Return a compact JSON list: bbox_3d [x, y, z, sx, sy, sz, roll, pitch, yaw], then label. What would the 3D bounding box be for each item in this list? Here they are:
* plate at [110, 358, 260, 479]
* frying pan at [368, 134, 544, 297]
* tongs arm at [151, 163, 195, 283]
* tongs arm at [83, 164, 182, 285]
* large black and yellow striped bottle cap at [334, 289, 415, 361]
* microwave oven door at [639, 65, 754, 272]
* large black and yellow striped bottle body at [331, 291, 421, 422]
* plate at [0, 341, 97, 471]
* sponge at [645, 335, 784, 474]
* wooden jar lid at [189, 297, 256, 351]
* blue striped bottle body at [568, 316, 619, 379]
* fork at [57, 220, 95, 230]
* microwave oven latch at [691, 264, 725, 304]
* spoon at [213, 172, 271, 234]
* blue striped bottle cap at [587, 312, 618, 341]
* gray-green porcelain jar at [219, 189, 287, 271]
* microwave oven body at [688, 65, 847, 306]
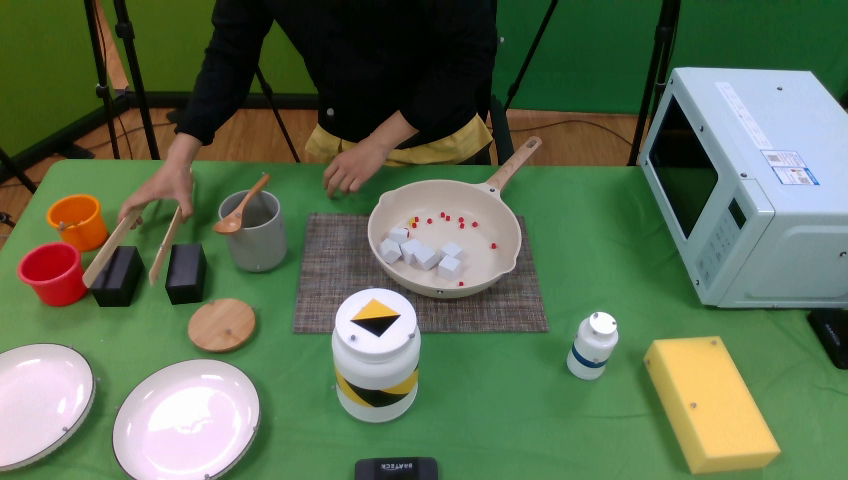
[{"bbox_3d":[-0.349,0.273,0.899,0.208,0.039,0.206,2,46,-2],"label":"plate"},{"bbox_3d":[0.104,-0.069,1.205,0.305,0.103,0.487,32,61,23],"label":"frying pan"},{"bbox_3d":[-0.482,-0.046,1.146,0.051,0.026,0.382,-3,35,-3],"label":"tongs arm"},{"bbox_3d":[-0.541,-0.045,1.142,0.028,0.028,0.385,-2,34,4],"label":"tongs arm"},{"bbox_3d":[-0.069,0.117,0.850,0.115,0.019,0.114,2,45,-2],"label":"large black and yellow striped bottle cap"},{"bbox_3d":[0.522,-0.147,1.193,0.039,0.245,0.353,1,47,-3],"label":"microwave oven door"},{"bbox_3d":[-0.071,0.175,0.911,0.131,0.185,0.130,2,47,-2],"label":"large black and yellow striped bottle body"},{"bbox_3d":[-0.599,0.247,0.904,0.209,0.038,0.208,2,47,-2],"label":"plate"},{"bbox_3d":[0.449,0.253,0.956,0.118,0.061,0.205,-4,46,-7],"label":"sponge"},{"bbox_3d":[-0.342,0.145,1.033,0.108,0.021,0.107,2,45,-2],"label":"wooden jar lid"},{"bbox_3d":[0.276,0.169,0.984,0.063,0.121,0.062,2,46,-2],"label":"blue striped bottle body"},{"bbox_3d":[-0.624,-0.027,1.086,0.028,0.207,0.018,-2,91,-17],"label":"fork"},{"bbox_3d":[0.521,0.081,1.116,0.030,0.029,0.078,0,46,-3],"label":"microwave oven latch"},{"bbox_3d":[-0.312,-0.069,1.069,0.041,0.022,0.193,9,43,11],"label":"spoon"},{"bbox_3d":[0.279,0.134,0.947,0.044,0.021,0.044,2,45,-2],"label":"blue striped bottle cap"},{"bbox_3d":[-0.309,-0.014,1.113,0.106,0.127,0.105,2,46,-2],"label":"gray-green porcelain jar"},{"bbox_3d":[0.669,-0.111,1.176,0.326,0.261,0.439,0,46,-3],"label":"microwave oven body"}]
